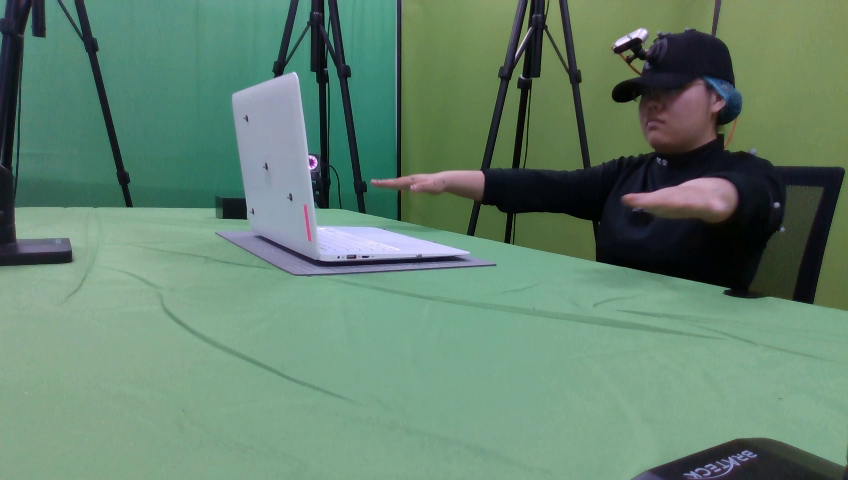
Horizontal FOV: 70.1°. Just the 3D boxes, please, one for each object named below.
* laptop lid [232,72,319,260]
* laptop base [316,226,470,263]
[{"bbox_3d":[-0.229,-0.109,0.888,0.013,0.241,0.355,-10,14,-28],"label":"laptop lid"},{"bbox_3d":[-0.116,0.005,0.971,0.237,0.023,0.352,2,6,-30],"label":"laptop base"}]
